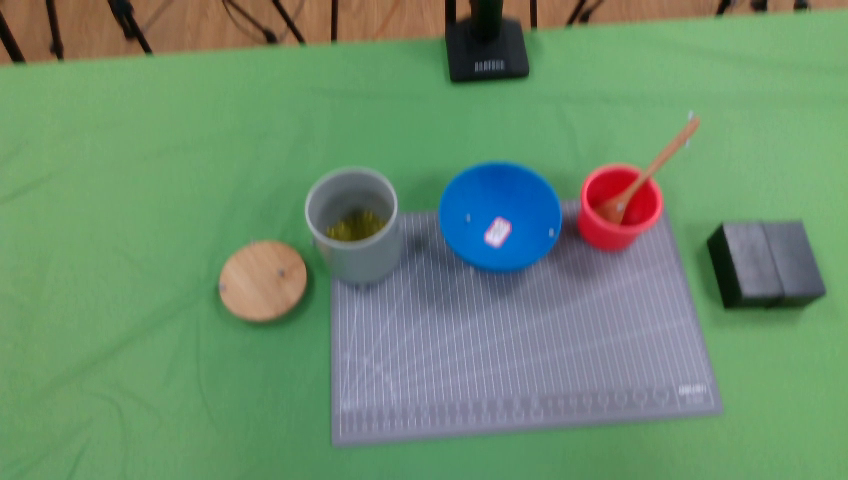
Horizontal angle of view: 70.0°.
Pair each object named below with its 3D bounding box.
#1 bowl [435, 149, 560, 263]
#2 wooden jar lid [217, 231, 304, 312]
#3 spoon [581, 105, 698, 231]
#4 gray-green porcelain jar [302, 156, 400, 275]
[{"bbox_3d":[0.089,-0.030,0.760,0.151,0.077,0.150,0,65,1],"label":"bowl"},{"bbox_3d":[-0.205,0.041,0.766,0.108,0.021,0.107,0,65,1],"label":"wooden jar lid"},{"bbox_3d":[0.265,-0.087,0.747,0.041,0.022,0.194,48,118,21],"label":"spoon"},{"bbox_3d":[-0.083,-0.023,0.731,0.106,0.127,0.105,0,65,1],"label":"gray-green porcelain jar"}]
